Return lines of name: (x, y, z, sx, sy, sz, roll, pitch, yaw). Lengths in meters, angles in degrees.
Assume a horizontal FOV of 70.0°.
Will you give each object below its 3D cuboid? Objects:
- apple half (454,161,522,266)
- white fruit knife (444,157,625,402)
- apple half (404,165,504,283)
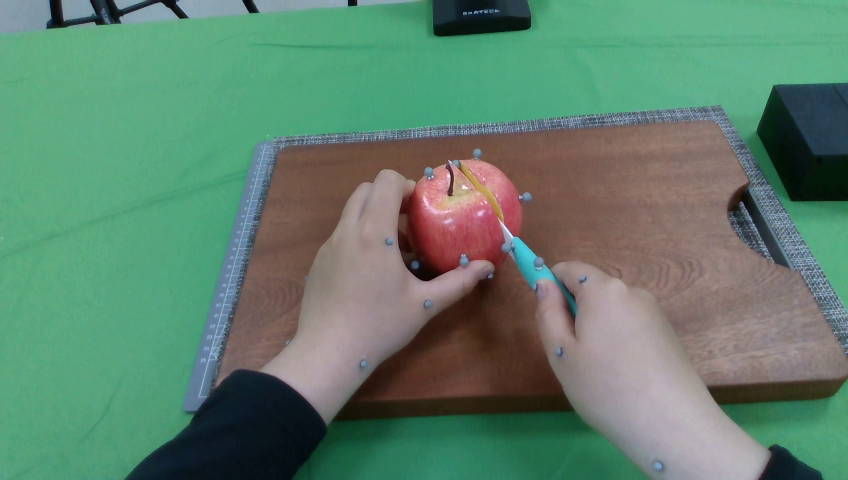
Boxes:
apple half: (0.051, -0.021, 0.436, 0.033, 0.082, 0.080, -23, 49, -16)
white fruit knife: (0.061, 0.012, 0.388, 0.016, 0.028, 0.205, -24, 55, -14)
apple half: (0.014, -0.005, 0.425, 0.053, 0.075, 0.080, -27, 53, -13)
